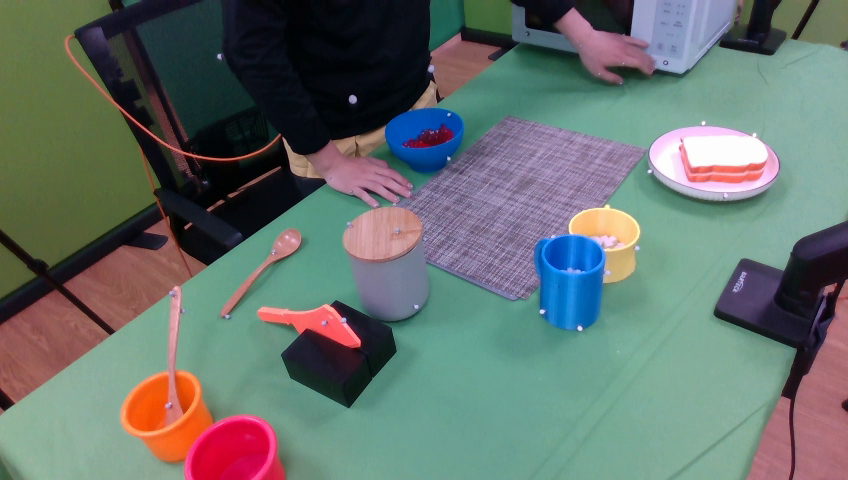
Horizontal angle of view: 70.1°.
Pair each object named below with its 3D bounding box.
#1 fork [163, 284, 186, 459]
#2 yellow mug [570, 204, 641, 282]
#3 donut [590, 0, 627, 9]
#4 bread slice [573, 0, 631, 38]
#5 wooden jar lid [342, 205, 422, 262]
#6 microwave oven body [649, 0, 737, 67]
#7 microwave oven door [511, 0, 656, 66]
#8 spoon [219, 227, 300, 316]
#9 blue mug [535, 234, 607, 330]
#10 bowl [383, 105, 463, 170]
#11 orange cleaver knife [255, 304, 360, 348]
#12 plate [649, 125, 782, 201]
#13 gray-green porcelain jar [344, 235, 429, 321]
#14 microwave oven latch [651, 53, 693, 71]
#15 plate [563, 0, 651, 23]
[{"bbox_3d":[-0.303,0.157,0.733,0.028,0.019,0.207,-3,84,13],"label":"fork"},{"bbox_3d":[0.268,-0.005,0.904,0.099,0.064,0.130,7,42,15],"label":"yellow mug"},{"bbox_3d":[0.438,-0.586,1.433,0.099,0.048,0.098,-2,53,3],"label":"donut"},{"bbox_3d":[0.428,-0.557,1.479,0.105,0.019,0.131,-27,69,-19],"label":"bread slice"},{"bbox_3d":[-0.055,-0.006,0.808,0.108,0.021,0.108,-6,41,6],"label":"wooden jar lid"},{"bbox_3d":[0.475,-0.602,1.411,0.438,0.261,0.327,23,50,32],"label":"microwave oven body"},{"bbox_3d":[0.351,-0.539,1.349,0.353,0.245,0.039,24,50,31],"label":"microwave oven door"},{"bbox_3d":[-0.261,0.046,0.954,0.041,0.021,0.194,27,48,10],"label":"spoon"},{"bbox_3d":[0.191,0.048,0.824,0.082,0.106,0.115,-26,44,-20],"label":"blue mug"},{"bbox_3d":[0.002,-0.185,1.143,0.151,0.077,0.150,-4,40,4],"label":"bowl"},{"bbox_3d":[-0.161,0.115,0.813,0.210,0.077,0.012,-5,32,46],"label":"orange cleaver knife"},{"bbox_3d":[0.493,-0.128,1.036,0.207,0.039,0.206,-4,41,4],"label":"plate"},{"bbox_3d":[-0.049,0.042,0.849,0.106,0.127,0.105,-4,41,4],"label":"gray-green porcelain jar"},{"bbox_3d":[0.532,-0.387,1.301,0.078,0.029,0.030,27,52,34],"label":"microwave oven latch"},{"bbox_3d":[0.440,-0.573,1.455,0.209,0.038,0.208,-6,43,6],"label":"plate"}]
